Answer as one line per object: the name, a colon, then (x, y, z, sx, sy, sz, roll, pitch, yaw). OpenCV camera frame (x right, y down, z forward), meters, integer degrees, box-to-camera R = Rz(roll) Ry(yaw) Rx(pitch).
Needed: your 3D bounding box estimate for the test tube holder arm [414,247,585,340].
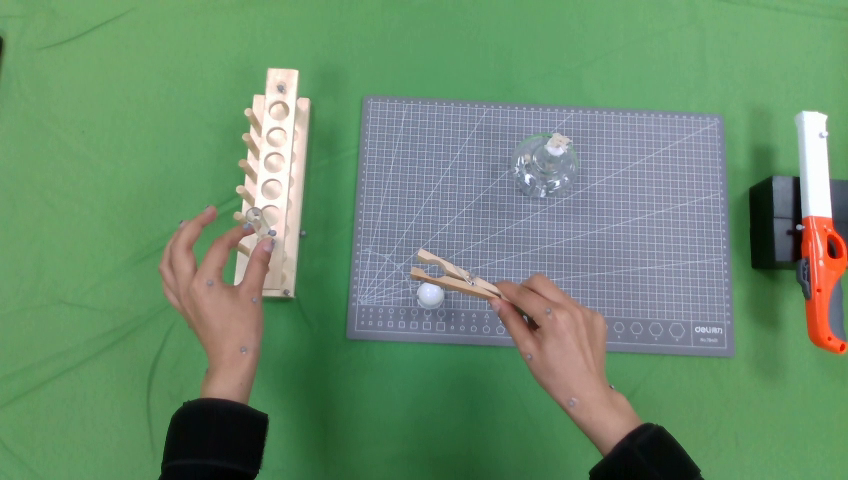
test tube holder arm: (0.072, 0.051, 0.578, 0.178, 0.015, 0.013, 25, 73, 2)

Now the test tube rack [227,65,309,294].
test tube rack: (-0.179, -0.065, 0.680, 0.067, 0.085, 0.241, 3, 79, -1)

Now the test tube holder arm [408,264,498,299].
test tube holder arm: (0.028, 0.040, 0.577, 0.088, 0.015, 0.010, 15, 72, -1)

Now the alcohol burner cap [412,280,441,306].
alcohol burner cap: (0.004, 0.056, 0.683, 0.034, 0.048, 0.033, 1, 79, -3)

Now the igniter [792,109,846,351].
igniter: (0.439, -0.016, 0.677, 0.057, 0.025, 0.275, 5, 76, -4)

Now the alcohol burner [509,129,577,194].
alcohol burner: (0.136, -0.093, 0.681, 0.078, 0.119, 0.077, 0, 80, 0)

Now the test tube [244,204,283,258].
test tube: (-0.161, -0.005, 0.619, 0.017, 0.151, 0.017, 1, 74, -4)
